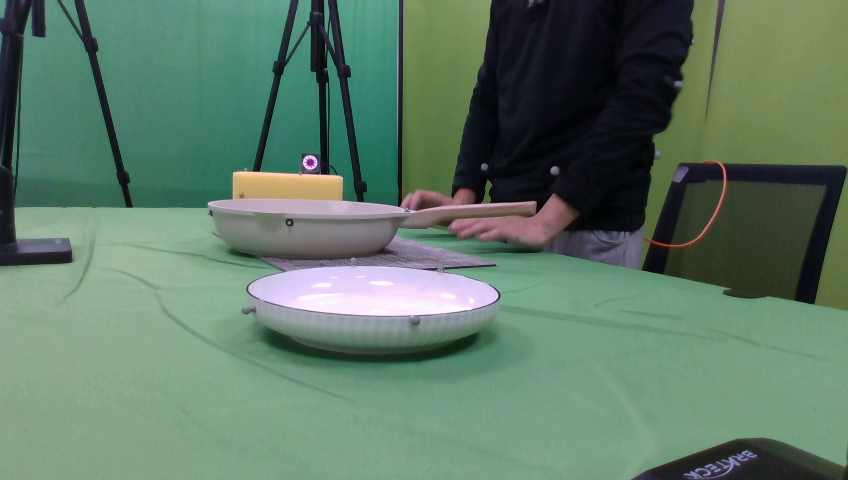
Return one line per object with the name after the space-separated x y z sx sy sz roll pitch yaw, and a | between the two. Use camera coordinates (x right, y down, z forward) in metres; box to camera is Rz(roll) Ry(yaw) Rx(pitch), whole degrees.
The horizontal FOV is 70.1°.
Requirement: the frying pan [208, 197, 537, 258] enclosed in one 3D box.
-0.076 -0.034 0.913 0.487 0.102 0.307 -5 7 11 | frying pan

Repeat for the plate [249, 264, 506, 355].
-0.037 0.056 0.504 0.208 0.039 0.207 2 7 0 | plate

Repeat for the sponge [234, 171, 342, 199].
-0.273 -0.105 1.223 0.207 0.061 0.118 0 7 -14 | sponge
